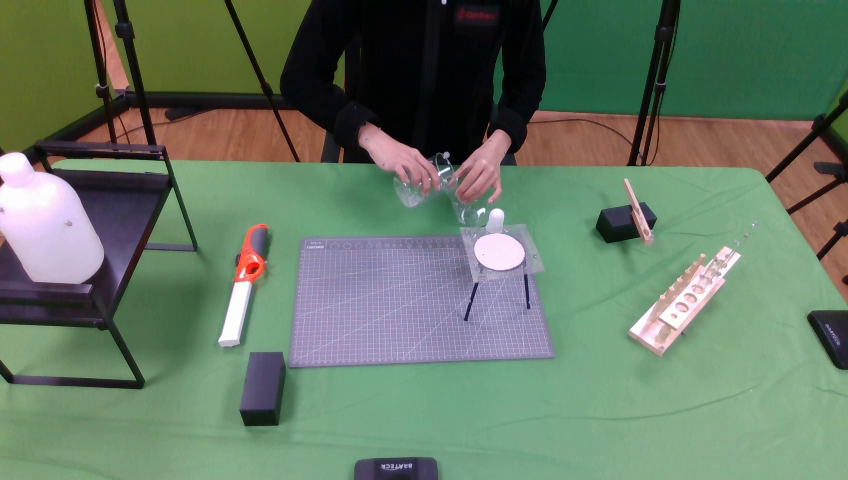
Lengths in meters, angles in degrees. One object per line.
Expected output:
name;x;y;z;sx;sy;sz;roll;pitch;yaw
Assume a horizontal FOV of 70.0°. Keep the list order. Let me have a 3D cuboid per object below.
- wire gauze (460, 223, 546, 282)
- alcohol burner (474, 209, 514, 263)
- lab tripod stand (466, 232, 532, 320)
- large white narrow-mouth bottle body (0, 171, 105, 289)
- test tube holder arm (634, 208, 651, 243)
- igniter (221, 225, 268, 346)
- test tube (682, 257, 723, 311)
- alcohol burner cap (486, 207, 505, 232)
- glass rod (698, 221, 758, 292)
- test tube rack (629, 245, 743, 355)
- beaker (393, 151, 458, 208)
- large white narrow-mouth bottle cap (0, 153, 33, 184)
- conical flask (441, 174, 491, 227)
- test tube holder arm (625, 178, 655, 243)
wire gauze;0.131;0.016;1.015;0.121;0.011;0.124;-5;45;-8
alcohol burner;0.134;-0.013;1.150;0.078;0.120;0.077;0;47;0
lab tripod stand;0.125;0.059;1.065;0.148;0.132;0.147;1;45;0
large white narrow-mouth bottle body;-0.513;-0.029;0.818;0.102;0.195;0.101;2;46;-2
test tube holder arm;0.428;-0.030;1.189;0.010;0.015;0.087;1;47;-2
igniter;-0.323;0.072;1.100;0.057;0.025;0.274;-6;45;5
test tube;0.475;0.080;1.037;0.017;0.151;0.017;1;50;-1
alcohol burner cap;0.135;-0.039;1.125;0.034;0.048;0.033;4;42;-4
glass rod;0.527;0.035;1.059;0.008;0.200;0.008;5;49;-6
test tube rack;0.474;0.095;1.091;0.242;0.085;0.066;-34;56;-31
beaker;0.001;-0.108;1.120;0.100;0.084;0.073;-27;51;-15
large white narrow-mouth bottle cap;-0.510;-0.089;0.754;0.038;0.024;0.037;2;46;-2
conical flask;0.077;-0.083;1.203;0.075;0.122;0.075;-15;57;24
test tube holder arm;0.433;-0.062;1.220;0.013;0.015;0.177;1;47;-3
